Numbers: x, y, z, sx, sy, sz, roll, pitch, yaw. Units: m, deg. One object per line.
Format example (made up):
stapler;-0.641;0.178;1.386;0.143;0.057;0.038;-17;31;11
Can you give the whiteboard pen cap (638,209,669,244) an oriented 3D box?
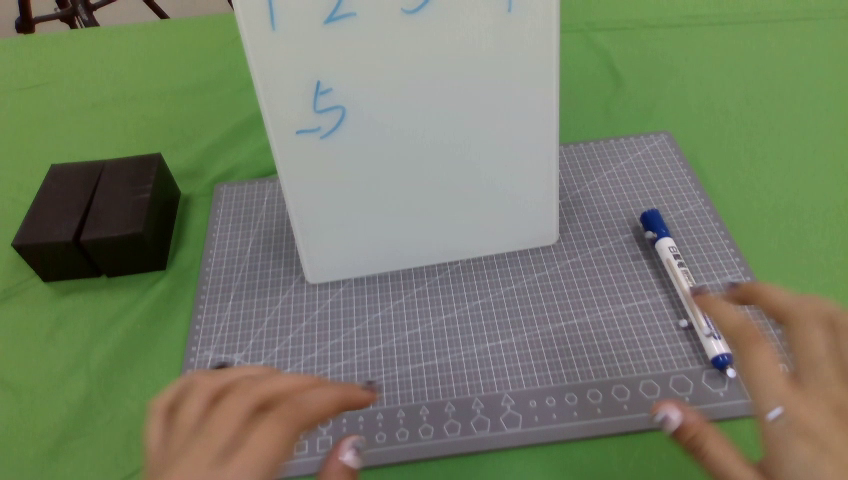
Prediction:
whiteboard pen cap;0.192;-0.009;0.507;0.018;0.018;0.033;-8;52;-3

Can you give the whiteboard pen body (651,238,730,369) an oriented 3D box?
whiteboard pen body;0.200;0.036;0.470;0.017;0.017;0.139;-8;51;-3

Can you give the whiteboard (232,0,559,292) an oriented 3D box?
whiteboard;-0.016;-0.138;0.489;0.217;0.308;0.142;-9;30;-2
